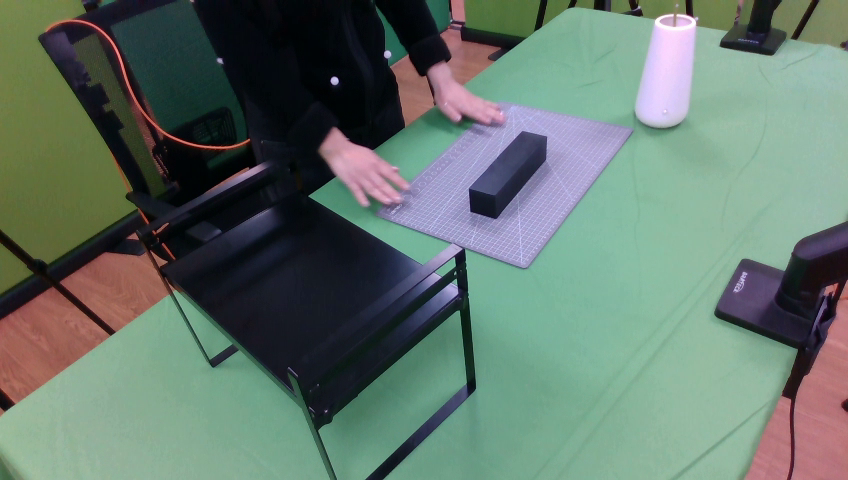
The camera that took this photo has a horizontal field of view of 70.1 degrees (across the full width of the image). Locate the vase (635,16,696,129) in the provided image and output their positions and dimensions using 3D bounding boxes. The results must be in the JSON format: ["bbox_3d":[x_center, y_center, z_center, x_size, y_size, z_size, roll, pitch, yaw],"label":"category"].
[{"bbox_3d":[0.455,-0.310,1.133,0.098,0.201,0.097,-4,42,4],"label":"vase"}]

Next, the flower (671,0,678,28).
[{"bbox_3d":[0.440,-0.361,1.068,0.043,0.364,0.038,36,75,31],"label":"flower"}]
